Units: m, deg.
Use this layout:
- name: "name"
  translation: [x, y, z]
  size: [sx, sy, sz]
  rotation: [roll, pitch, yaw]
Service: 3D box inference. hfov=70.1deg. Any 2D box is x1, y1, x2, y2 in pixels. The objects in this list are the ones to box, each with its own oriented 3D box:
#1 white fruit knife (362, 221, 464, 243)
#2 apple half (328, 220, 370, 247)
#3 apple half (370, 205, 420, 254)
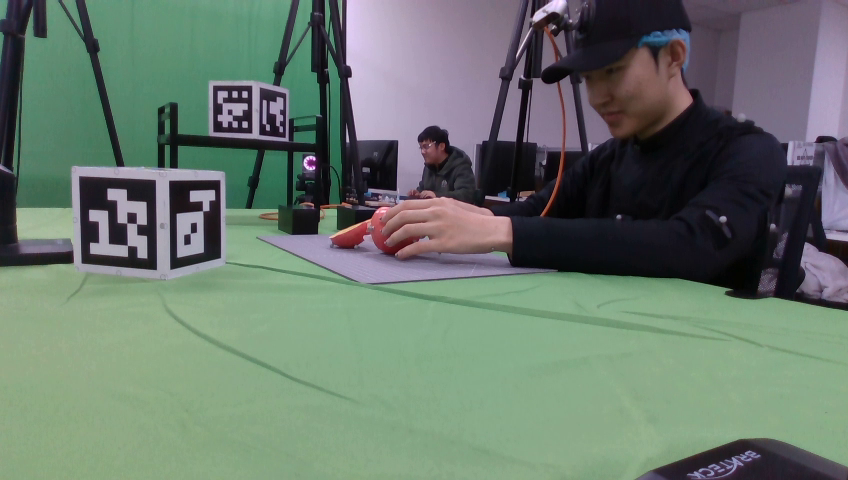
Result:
- name: "white fruit knife"
  translation: [-0.014, -0.012, 0.975]
  size: [0.208, 0.027, 0.016]
  rotation: [-7, 5, -40]
- name: "apple half"
  translation: [-0.111, -0.007, 0.971]
  size: [0.081, 0.033, 0.081]
  rotation: [-17, 9, 3]
- name: "apple half"
  translation: [-0.037, -0.015, 0.921]
  size: [0.081, 0.074, 0.053]
  rotation: [0, 11, -44]
